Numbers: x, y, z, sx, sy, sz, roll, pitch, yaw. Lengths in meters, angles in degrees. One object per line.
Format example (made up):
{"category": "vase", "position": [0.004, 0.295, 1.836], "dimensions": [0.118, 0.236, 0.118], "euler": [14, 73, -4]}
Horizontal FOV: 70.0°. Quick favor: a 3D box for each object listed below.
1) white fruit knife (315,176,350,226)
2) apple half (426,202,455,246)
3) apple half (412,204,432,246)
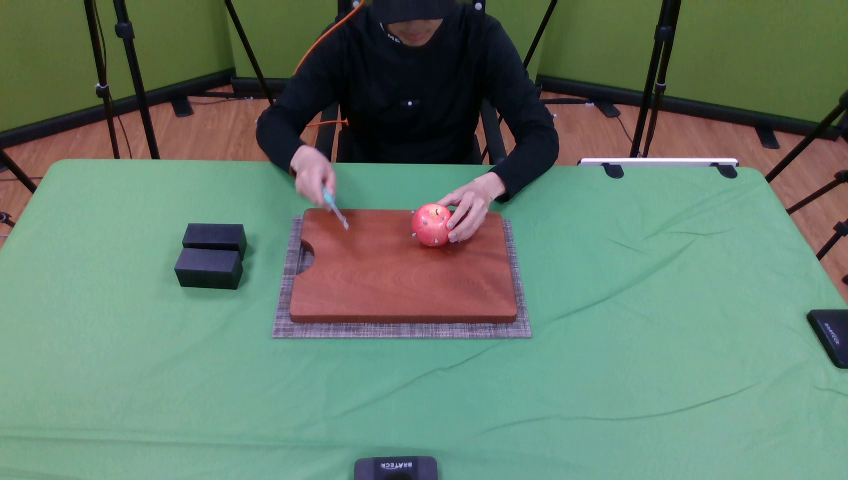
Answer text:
{"category": "white fruit knife", "position": [-0.165, -0.073, 1.093], "dimensions": [0.016, 0.027, 0.206], "euler": [-31, 36, -8]}
{"category": "apple half", "position": [0.030, -0.029, 1.150], "dimensions": [0.053, 0.075, 0.080], "euler": [-4, 43, -13]}
{"category": "apple half", "position": [-0.007, -0.025, 1.142], "dimensions": [0.033, 0.081, 0.080], "euler": [-5, 46, -13]}
